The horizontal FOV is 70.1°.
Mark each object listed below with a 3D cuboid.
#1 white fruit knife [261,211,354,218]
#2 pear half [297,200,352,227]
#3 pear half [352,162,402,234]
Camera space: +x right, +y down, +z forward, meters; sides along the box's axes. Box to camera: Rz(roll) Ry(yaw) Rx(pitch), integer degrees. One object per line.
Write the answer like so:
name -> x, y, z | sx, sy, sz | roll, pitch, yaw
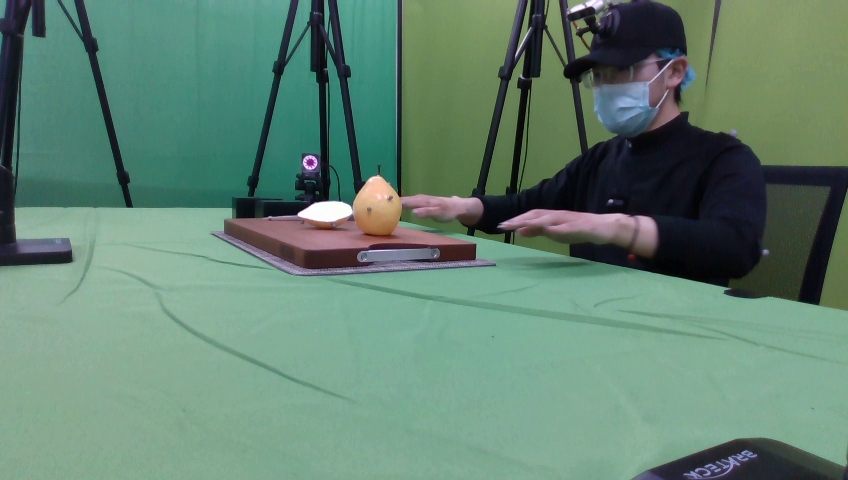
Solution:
white fruit knife -> -0.199, -0.047, 1.123 | 0.208, 0.016, 0.027 | -3, -6, -31
pear half -> -0.163, -0.038, 0.996 | 0.088, 0.031, 0.070 | -13, 26, -15
pear half -> -0.066, -0.063, 0.921 | 0.077, 0.110, 0.055 | -8, 12, -39
